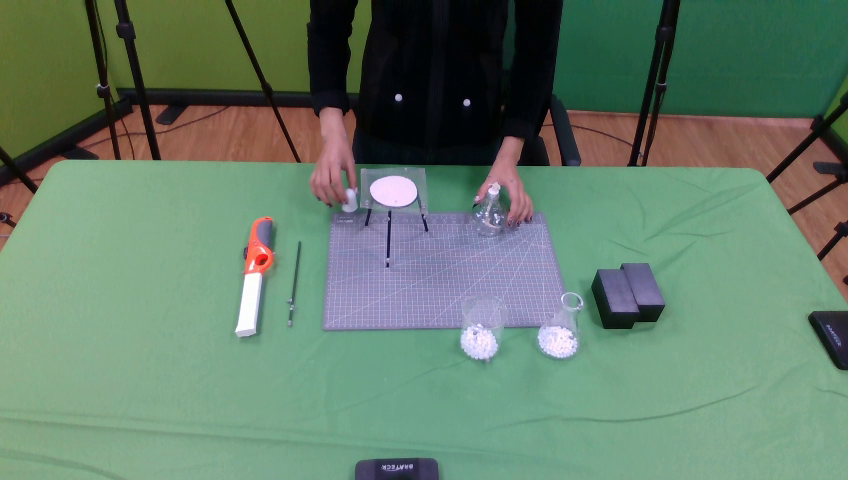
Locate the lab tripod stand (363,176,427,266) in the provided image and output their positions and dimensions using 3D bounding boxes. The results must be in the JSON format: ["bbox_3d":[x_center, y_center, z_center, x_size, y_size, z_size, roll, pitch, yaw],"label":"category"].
[{"bbox_3d":[-0.057,-0.047,1.159,0.148,0.132,0.147,3,44,-2],"label":"lab tripod stand"}]

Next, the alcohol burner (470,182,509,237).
[{"bbox_3d":[0.132,-0.065,1.206,0.078,0.120,0.077,1,44,-1],"label":"alcohol burner"}]

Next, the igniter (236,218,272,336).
[{"bbox_3d":[-0.312,0.058,1.115,0.057,0.025,0.274,-9,46,2],"label":"igniter"}]

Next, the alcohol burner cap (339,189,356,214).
[{"bbox_3d":[-0.157,-0.080,1.220,0.034,0.048,0.033,-2,45,2],"label":"alcohol burner cap"}]

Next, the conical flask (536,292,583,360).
[{"bbox_3d":[0.234,0.139,1.015,0.075,0.122,0.075,2,46,-2],"label":"conical flask"}]

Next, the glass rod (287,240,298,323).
[{"bbox_3d":[-0.242,0.072,1.119,0.008,0.008,0.198,-1,47,-5],"label":"glass rod"}]

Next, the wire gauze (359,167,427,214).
[{"bbox_3d":[-0.058,-0.093,1.110,0.125,0.011,0.120,2,45,-5],"label":"wire gauze"}]

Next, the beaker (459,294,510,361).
[{"bbox_3d":[0.095,0.147,1.012,0.083,0.101,0.074,26,49,21],"label":"beaker"}]
